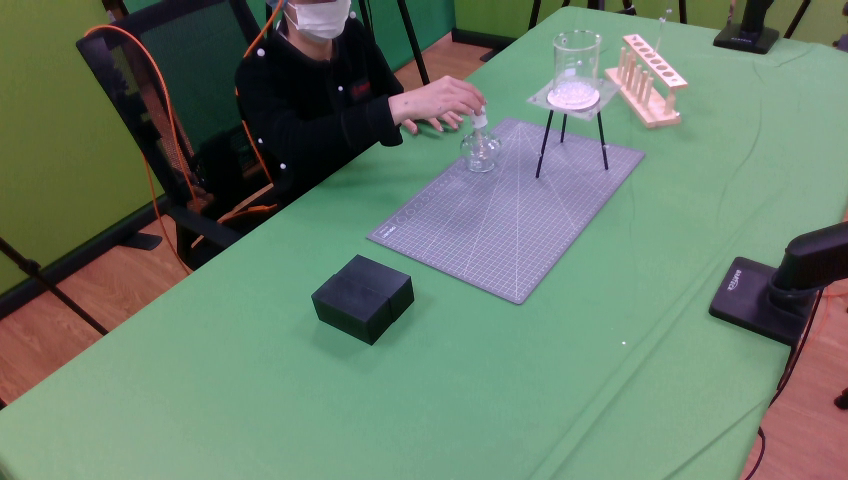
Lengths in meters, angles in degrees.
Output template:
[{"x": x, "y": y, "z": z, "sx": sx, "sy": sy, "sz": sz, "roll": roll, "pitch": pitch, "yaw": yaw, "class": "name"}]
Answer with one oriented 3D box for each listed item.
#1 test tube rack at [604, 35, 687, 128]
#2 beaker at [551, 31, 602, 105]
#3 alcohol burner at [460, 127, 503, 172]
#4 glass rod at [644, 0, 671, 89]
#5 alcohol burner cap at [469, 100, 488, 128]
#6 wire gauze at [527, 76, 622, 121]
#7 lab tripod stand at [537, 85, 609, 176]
[{"x": 0.447, "y": -0.330, "z": 1.241, "sx": 0.067, "sy": 0.085, "sz": 0.241, "roll": -9, "pitch": 41, "yaw": -2, "class": "test tube rack"}, {"x": 0.252, "y": -0.282, "z": 0.998, "sx": 0.084, "sy": 0.101, "sz": 0.073, "roll": -16, "pitch": 42, "yaw": -7, "class": "beaker"}, {"x": 0.103, "y": -0.185, "z": 1.098, "sx": 0.078, "sy": 0.119, "sz": 0.077, "roll": -6, "pitch": 40, "yaw": 5, "class": "alcohol burner"}, {"x": 0.463, "y": -0.387, "z": 1.204, "sx": 0.008, "sy": 0.200, "sz": 0.008, "roll": 0, "pitch": 47, "yaw": 1, "class": "glass rod"}, {"x": 0.094, "y": -0.223, "z": 1.063, "sx": 0.034, "sy": 0.048, "sz": 0.033, "roll": -8, "pitch": 38, "yaw": 7, "class": "alcohol burner cap"}, {"x": 0.255, "y": -0.247, "z": 1.031, "sx": 0.124, "sy": 0.011, "sz": 0.122, "roll": 23, "pitch": 49, "yaw": 34, "class": "wire gauze"}, {"x": 0.259, "y": -0.192, "z": 1.068, "sx": 0.148, "sy": 0.132, "sz": 0.147, "roll": -4, "pitch": 43, "yaw": 4, "class": "lab tripod stand"}]
